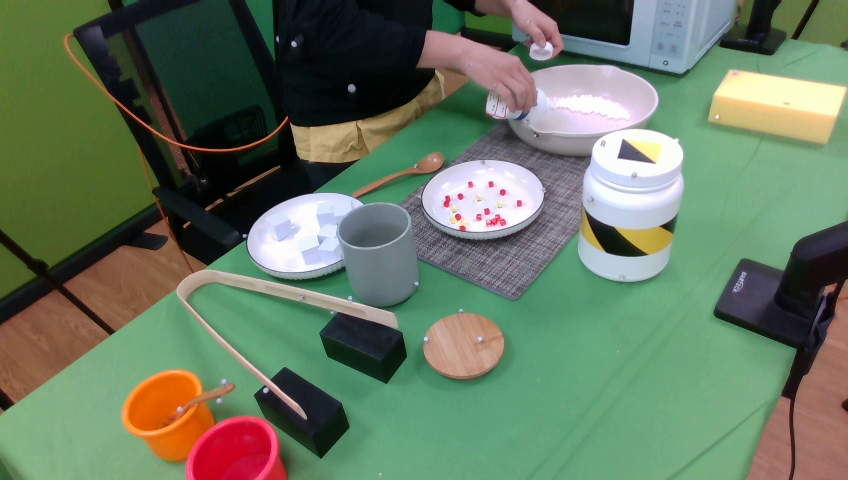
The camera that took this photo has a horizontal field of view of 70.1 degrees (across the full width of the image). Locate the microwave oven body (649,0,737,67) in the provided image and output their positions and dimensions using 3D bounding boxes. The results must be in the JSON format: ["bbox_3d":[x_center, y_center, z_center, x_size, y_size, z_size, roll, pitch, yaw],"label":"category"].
[{"bbox_3d":[0.475,-0.602,1.411,0.438,0.261,0.327,23,50,32],"label":"microwave oven body"}]

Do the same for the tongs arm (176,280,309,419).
[{"bbox_3d":[-0.254,0.133,0.801,0.028,0.028,0.384,-41,41,-23],"label":"tongs arm"}]

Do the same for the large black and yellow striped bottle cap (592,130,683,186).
[{"bbox_3d":[0.282,-0.111,0.803,0.115,0.019,0.114,-3,41,3],"label":"large black and yellow striped bottle cap"}]

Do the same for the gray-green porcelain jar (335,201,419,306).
[{"bbox_3d":[-0.064,0.024,0.872,0.106,0.127,0.105,-4,41,4],"label":"gray-green porcelain jar"}]

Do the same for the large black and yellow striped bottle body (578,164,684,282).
[{"bbox_3d":[0.291,-0.046,0.858,0.131,0.185,0.130,-4,41,4],"label":"large black and yellow striped bottle body"}]

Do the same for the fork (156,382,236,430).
[{"bbox_3d":[-0.262,0.189,0.690,0.018,0.206,0.028,49,43,-7],"label":"fork"}]

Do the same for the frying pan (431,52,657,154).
[{"bbox_3d":[0.216,-0.302,1.224,0.484,0.103,0.308,29,50,24],"label":"frying pan"}]

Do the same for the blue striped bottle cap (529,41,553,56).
[{"bbox_3d":[0.231,-0.379,1.197,0.044,0.020,0.044,12,12,-2],"label":"blue striped bottle cap"}]

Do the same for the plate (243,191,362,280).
[{"bbox_3d":[-0.187,-0.005,0.992,0.207,0.039,0.206,-4,40,3],"label":"plate"}]

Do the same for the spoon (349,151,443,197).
[{"bbox_3d":[-0.051,-0.122,1.120,0.194,0.022,0.041,-22,61,-18],"label":"spoon"}]

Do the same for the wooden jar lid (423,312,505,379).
[{"bbox_3d":[0.053,0.142,0.800,0.108,0.021,0.108,-5,39,4],"label":"wooden jar lid"}]

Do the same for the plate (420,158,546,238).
[{"bbox_3d":[0.099,-0.067,1.017,0.209,0.038,0.208,-4,40,4],"label":"plate"}]

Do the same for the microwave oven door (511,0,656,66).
[{"bbox_3d":[0.351,-0.540,1.349,0.353,0.245,0.039,24,50,31],"label":"microwave oven door"}]

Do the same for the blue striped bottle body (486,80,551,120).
[{"bbox_3d":[0.175,-0.250,1.090,0.122,0.063,0.062,-5,33,-39],"label":"blue striped bottle body"}]

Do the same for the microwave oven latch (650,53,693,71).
[{"bbox_3d":[0.531,-0.386,1.301,0.078,0.029,0.030,26,51,33],"label":"microwave oven latch"}]

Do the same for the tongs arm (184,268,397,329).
[{"bbox_3d":[-0.202,0.084,0.848,0.382,0.027,0.051,11,45,35],"label":"tongs arm"}]

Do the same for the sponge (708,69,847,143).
[{"bbox_3d":[0.663,-0.256,1.141,0.205,0.061,0.118,18,47,28],"label":"sponge"}]
